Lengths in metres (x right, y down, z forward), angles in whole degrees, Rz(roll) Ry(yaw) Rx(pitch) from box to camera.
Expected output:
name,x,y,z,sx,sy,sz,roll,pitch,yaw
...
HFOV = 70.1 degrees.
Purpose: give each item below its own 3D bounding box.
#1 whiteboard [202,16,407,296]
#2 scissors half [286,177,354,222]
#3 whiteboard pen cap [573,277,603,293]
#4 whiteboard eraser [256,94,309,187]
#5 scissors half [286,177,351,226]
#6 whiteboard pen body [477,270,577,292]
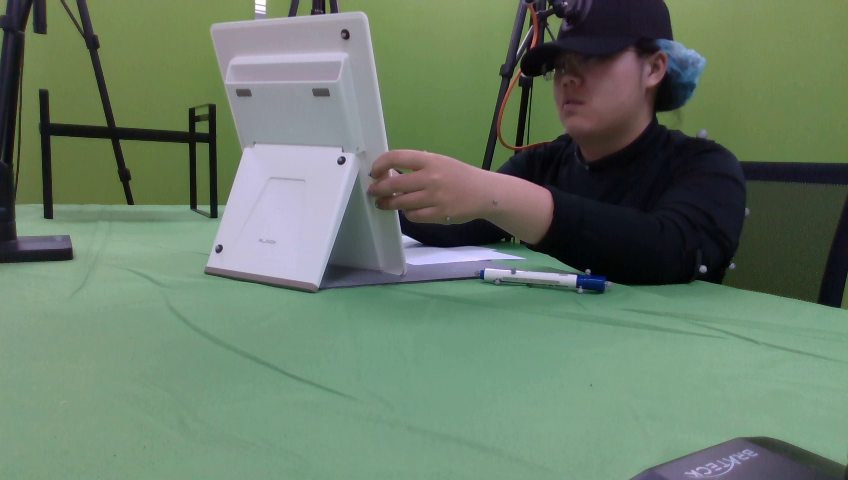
name,x,y,z,sx,sy,sz,roll,pitch,yaw
whiteboard,-0.167,-0.073,0.668,0.216,0.305,0.144,7,30,28
scissors half,-0.229,-0.090,1.337,0.175,0.013,0.040,32,14,-13
whiteboard pen cap,0.186,0.051,0.687,0.033,0.018,0.018,5,8,17
whiteboard eraser,-0.178,-0.122,0.754,0.055,0.112,0.042,13,31,23
scissors half,-0.232,-0.085,1.318,0.175,0.013,0.040,37,19,4
whiteboard pen body,0.131,0.048,0.706,0.140,0.017,0.017,5,8,18
